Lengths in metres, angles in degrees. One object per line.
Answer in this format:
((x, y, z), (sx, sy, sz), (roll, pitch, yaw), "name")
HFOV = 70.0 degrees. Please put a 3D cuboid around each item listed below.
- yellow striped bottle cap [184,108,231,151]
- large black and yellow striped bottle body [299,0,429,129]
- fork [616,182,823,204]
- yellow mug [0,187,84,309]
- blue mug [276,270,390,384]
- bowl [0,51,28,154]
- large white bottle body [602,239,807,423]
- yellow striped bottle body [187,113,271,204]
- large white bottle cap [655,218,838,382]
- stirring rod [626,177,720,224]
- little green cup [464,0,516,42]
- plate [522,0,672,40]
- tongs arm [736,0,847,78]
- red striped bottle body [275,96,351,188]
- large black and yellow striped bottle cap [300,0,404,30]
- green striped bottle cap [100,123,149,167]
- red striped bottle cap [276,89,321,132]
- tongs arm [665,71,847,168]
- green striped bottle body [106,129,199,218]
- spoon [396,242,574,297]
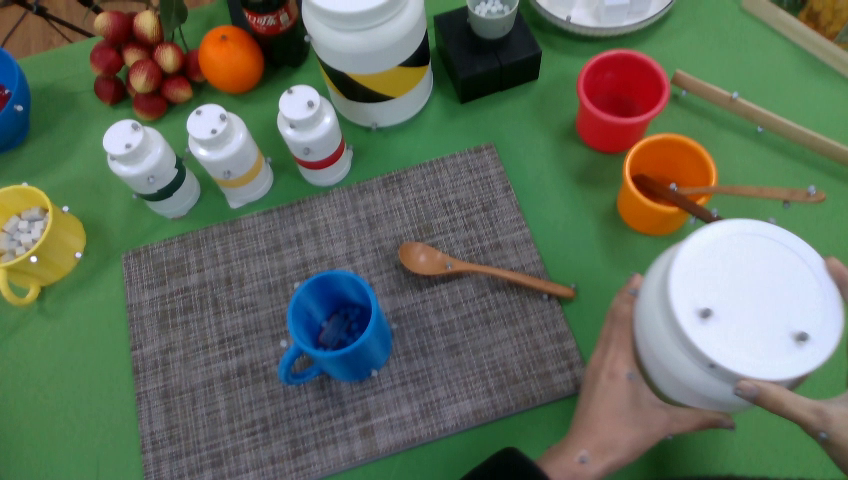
((-0.224, -0.115, 0.626), (0.044, 0.019, 0.044), (0, 62, 0), "yellow striped bottle cap")
((-0.065, -0.228, 0.686), (0.131, 0.185, 0.130), (-2, 66, 4), "large black and yellow striped bottle body")
((0.280, -0.047, 0.599), (0.028, 0.019, 0.206), (-54, 29, -18), "fork")
((-0.448, 0.013, 0.675), (0.100, 0.064, 0.130), (-8, 66, 1), "yellow mug")
((-0.092, 0.096, 0.585), (0.116, 0.106, 0.082), (-41, 69, -13), "blue mug")
((-0.554, -0.156, 0.751), (0.151, 0.077, 0.150), (-1, 66, 3), "bowl")
((0.226, 0.073, 0.492), (0.130, 0.186, 0.129), (-2, 66, 4), "large white bottle body")
((-0.218, -0.094, 0.674), (0.063, 0.121, 0.062), (-2, 66, 5), "yellow striped bottle body")
((0.219, 0.039, 0.415), (0.115, 0.018, 0.114), (-1, 67, 4), "large white bottle cap")
((0.249, -0.039, 0.605), (0.014, 0.006, 0.174), (-15, 23, -5), "stirring rod")
((0.077, -0.267, 0.716), (0.061, 0.039, 0.061), (-1, 63, 2), "little green cup")
((0.223, -0.340, 0.793), (0.209, 0.038, 0.207), (-1, 67, 4), "plate")
((0.519, -0.174, 0.702), (0.028, 0.028, 0.384), (-35, 68, -18), "tongs arm")
((-0.125, -0.113, 0.676), (0.063, 0.120, 0.062), (-3, 65, 6), "red striped bottle body")
((-0.071, -0.262, 0.607), (0.115, 0.019, 0.114), (-2, 68, 6), "large black and yellow striped bottle cap")
((-0.310, -0.099, 0.626), (0.044, 0.020, 0.044), (-1, 65, 3), "green striped bottle cap")
((-0.130, -0.135, 0.628), (0.044, 0.018, 0.044), (0, 64, 1), "red striped bottle cap")
((0.459, -0.112, 0.676), (0.382, 0.027, 0.050), (32, 69, 16), "tongs arm")
((-0.304, -0.077, 0.674), (0.063, 0.120, 0.062), (-1, 66, 4), "green striped bottle body")
((0.064, 0.035, 0.645), (0.193, 0.022, 0.041), (11, 47, 9), "spoon")
